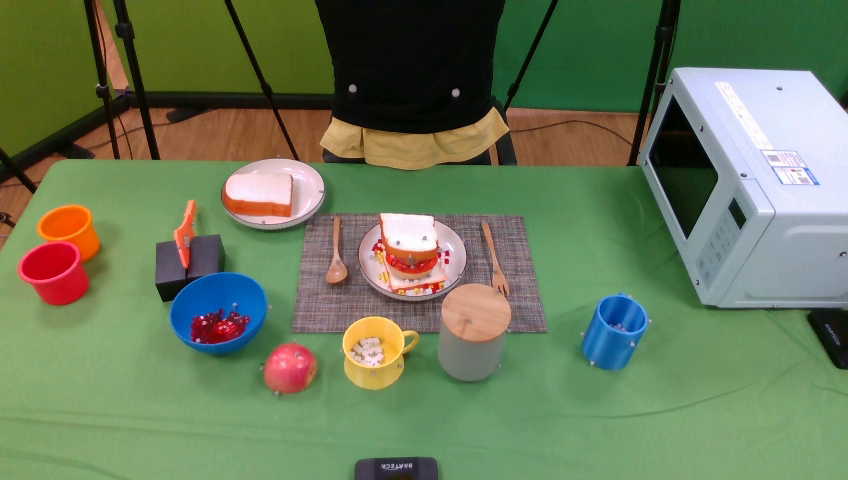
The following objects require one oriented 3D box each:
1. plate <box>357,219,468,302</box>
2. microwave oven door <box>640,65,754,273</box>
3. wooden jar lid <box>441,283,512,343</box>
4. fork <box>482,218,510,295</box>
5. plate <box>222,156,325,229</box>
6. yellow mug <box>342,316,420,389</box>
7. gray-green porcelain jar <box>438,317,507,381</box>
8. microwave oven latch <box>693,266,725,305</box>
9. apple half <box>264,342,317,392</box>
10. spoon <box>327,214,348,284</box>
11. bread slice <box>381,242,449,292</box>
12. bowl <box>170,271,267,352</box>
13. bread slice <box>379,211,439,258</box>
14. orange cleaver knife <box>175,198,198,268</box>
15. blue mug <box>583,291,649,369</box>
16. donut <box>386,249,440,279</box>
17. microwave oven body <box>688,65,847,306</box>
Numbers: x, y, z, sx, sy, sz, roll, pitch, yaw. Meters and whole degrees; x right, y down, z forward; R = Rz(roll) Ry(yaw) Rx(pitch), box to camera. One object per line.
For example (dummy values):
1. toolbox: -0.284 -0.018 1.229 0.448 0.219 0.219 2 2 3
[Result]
1. plate: -0.021 0.037 1.141 0.208 0.039 0.206 2 46 -2
2. microwave oven door: 0.523 -0.147 1.193 0.039 0.245 0.353 0 47 -3
3. wooden jar lid: 0.080 0.114 0.931 0.108 0.021 0.107 1 49 0
4. fork: 0.136 0.029 1.172 0.028 0.019 0.206 -10 48 1
5. plate: -0.308 -0.095 1.251 0.209 0.038 0.208 2 47 -2
6. yellow mug: -0.067 0.177 0.990 0.131 0.064 0.099 -16 50 -19
7. gray-green porcelain jar: 0.076 0.158 0.977 0.106 0.127 0.105 2 47 -2
8. microwave oven latch: 0.523 0.082 1.115 0.030 0.029 0.078 3 46 0
9. apple half: -0.214 0.198 0.970 0.074 0.053 0.080 19 48 11
10. spoon: -0.167 0.013 1.164 0.041 0.022 0.192 -19 47 11
11. bread slice: -0.026 0.039 1.139 0.107 0.018 0.133 -12 47 -16
12. bowl: -0.333 0.132 1.006 0.151 0.077 0.150 2 46 -2
13. bread slice: -0.023 -0.012 1.064 0.105 0.019 0.130 3 33 -10
14. orange cleaver knife: -0.438 -0.017 1.138 0.012 0.077 0.210 -13 27 -7
15. blue mug: 0.324 0.142 1.023 0.082 0.106 0.116 15 47 11
16. donut: -0.021 0.029 1.110 0.099 0.048 0.098 2 46 -2
17. microwave oven body: 0.669 -0.111 1.176 0.326 0.261 0.439 0 46 -3
